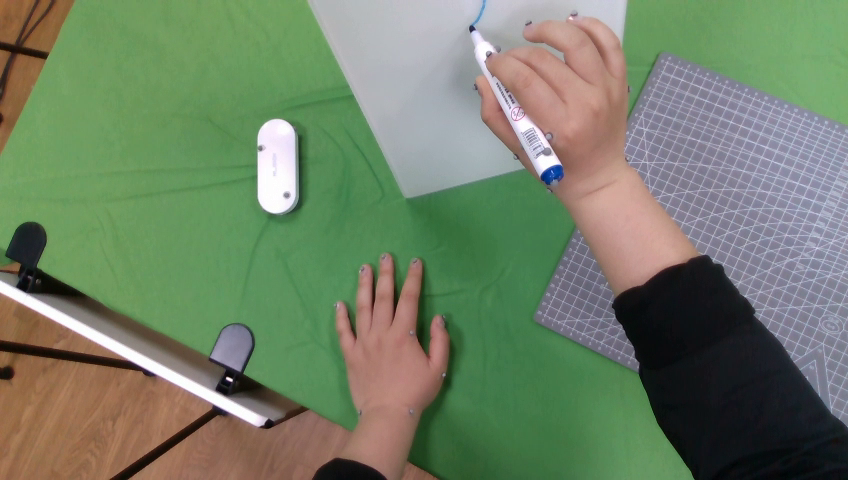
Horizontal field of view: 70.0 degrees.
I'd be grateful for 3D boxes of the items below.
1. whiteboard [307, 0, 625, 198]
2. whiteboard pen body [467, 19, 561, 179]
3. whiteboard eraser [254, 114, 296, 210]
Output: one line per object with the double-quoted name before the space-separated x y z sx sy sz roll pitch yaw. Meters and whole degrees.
"whiteboard" 0.039 -0.195 0.514 0.217 0.308 0.142 -14 63 7
"whiteboard pen body" 0.056 -0.100 0.407 0.017 0.017 0.139 -25 66 5
"whiteboard eraser" -0.158 -0.083 0.640 0.041 0.019 0.101 -2 86 6
